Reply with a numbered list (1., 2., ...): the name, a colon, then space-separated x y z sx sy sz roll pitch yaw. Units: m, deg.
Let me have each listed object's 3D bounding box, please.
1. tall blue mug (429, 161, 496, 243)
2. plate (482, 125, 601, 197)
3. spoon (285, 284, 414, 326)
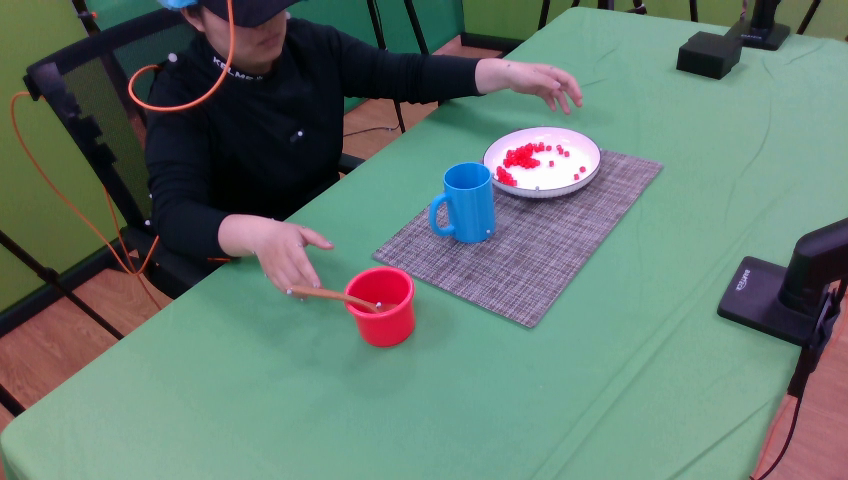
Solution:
1. tall blue mug: 0.066 -0.051 0.960 0.077 0.108 0.107 18 47 28
2. plate: 0.210 -0.138 1.091 0.207 0.039 0.206 -5 40 5
3. spoon: -0.096 0.083 0.812 0.195 0.021 0.041 22 31 -34
